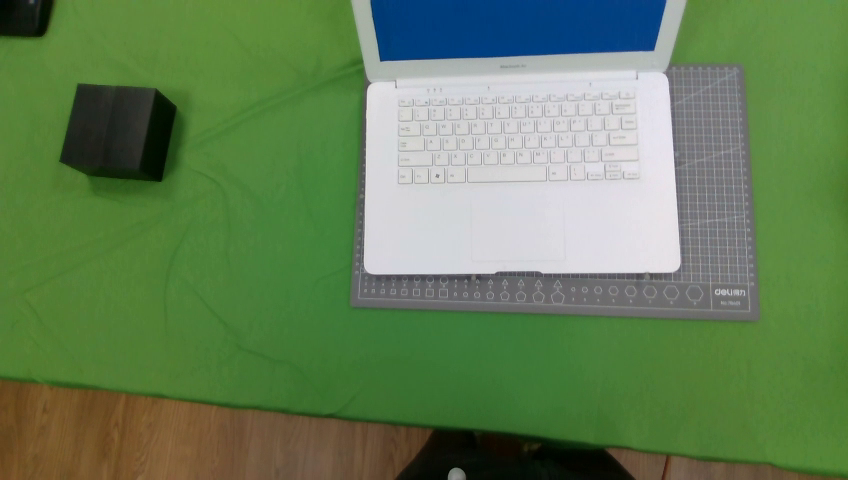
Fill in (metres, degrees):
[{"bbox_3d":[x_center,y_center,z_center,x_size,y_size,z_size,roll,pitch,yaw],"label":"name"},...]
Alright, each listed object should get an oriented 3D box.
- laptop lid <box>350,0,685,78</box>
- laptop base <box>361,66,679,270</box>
[{"bbox_3d":[0.095,-0.266,0.626,0.356,0.244,0.013,-2,54,6],"label":"laptop lid"},{"bbox_3d":[0.104,-0.083,0.700,0.354,0.023,0.234,-1,82,4],"label":"laptop base"}]
